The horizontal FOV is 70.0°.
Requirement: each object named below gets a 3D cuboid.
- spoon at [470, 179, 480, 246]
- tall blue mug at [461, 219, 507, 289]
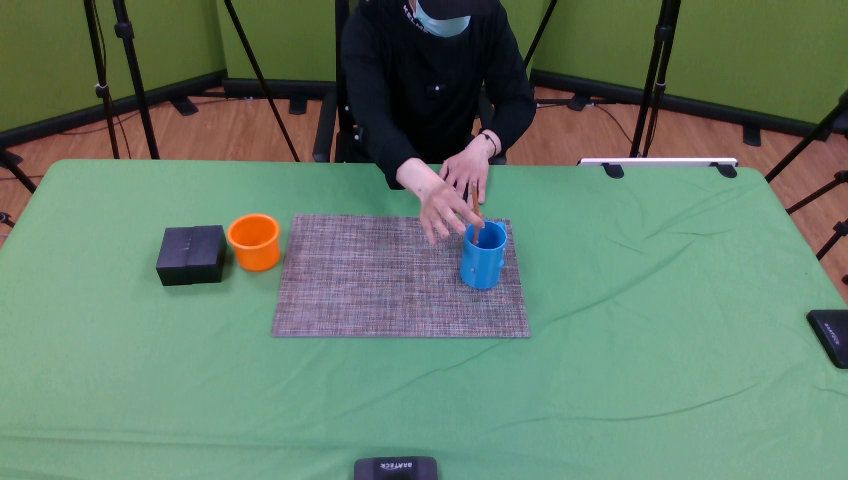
[{"bbox_3d":[0.090,-0.026,1.057,0.021,0.195,0.041,-3,39,-1],"label":"spoon"},{"bbox_3d":[0.111,0.016,1.122,0.078,0.108,0.106,6,46,4],"label":"tall blue mug"}]
